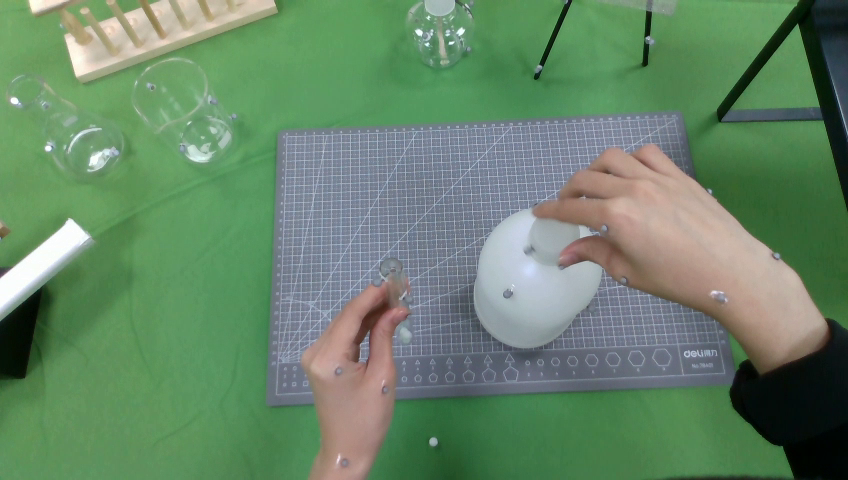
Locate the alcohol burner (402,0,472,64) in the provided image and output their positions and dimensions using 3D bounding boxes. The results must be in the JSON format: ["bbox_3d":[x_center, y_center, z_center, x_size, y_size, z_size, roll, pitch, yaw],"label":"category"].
[{"bbox_3d":[0.015,-0.249,0.660,0.078,0.120,0.077,0,69,0],"label":"alcohol burner"}]

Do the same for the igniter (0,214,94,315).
[{"bbox_3d":[-0.425,0.080,0.549,0.057,0.025,0.276,40,73,12],"label":"igniter"}]

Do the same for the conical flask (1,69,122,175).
[{"bbox_3d":[-0.372,-0.123,0.618,0.075,0.122,0.075,0,70,1],"label":"conical flask"}]

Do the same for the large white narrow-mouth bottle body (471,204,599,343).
[{"bbox_3d":[0.095,0.025,0.519,0.102,0.196,0.101,0,72,2],"label":"large white narrow-mouth bottle body"}]

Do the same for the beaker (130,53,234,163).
[{"bbox_3d":[-0.247,-0.129,0.630,0.074,0.101,0.083,12,72,6],"label":"beaker"}]

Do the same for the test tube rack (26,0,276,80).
[{"bbox_3d":[-0.303,-0.274,0.688,0.242,0.086,0.066,-23,72,-7],"label":"test tube rack"}]

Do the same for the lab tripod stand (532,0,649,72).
[{"bbox_3d":[0.184,-0.255,0.648,0.148,0.132,0.147,0,70,0],"label":"lab tripod stand"}]

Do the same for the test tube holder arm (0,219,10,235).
[{"bbox_3d":[-0.437,0.013,0.577,0.010,0.015,0.087,42,76,13],"label":"test tube holder arm"}]

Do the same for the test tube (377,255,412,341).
[{"bbox_3d":[-0.020,0.049,0.456,0.017,0.151,0.017,-1,64,2],"label":"test tube"}]

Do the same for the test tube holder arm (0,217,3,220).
[{"bbox_3d":[-0.472,0.041,0.567,0.013,0.015,0.178,40,75,12],"label":"test tube holder arm"}]

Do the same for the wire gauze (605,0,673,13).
[{"bbox_3d":[0.190,-0.279,0.585,0.121,0.011,0.124,18,73,5],"label":"wire gauze"}]

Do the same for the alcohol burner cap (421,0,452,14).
[{"bbox_3d":[0.013,-0.262,0.626,0.034,0.048,0.033,0,70,1],"label":"alcohol burner cap"}]

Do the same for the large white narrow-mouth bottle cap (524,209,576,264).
[{"bbox_3d":[0.091,-0.003,0.434,0.038,0.024,0.037,0,72,1],"label":"large white narrow-mouth bottle cap"}]
